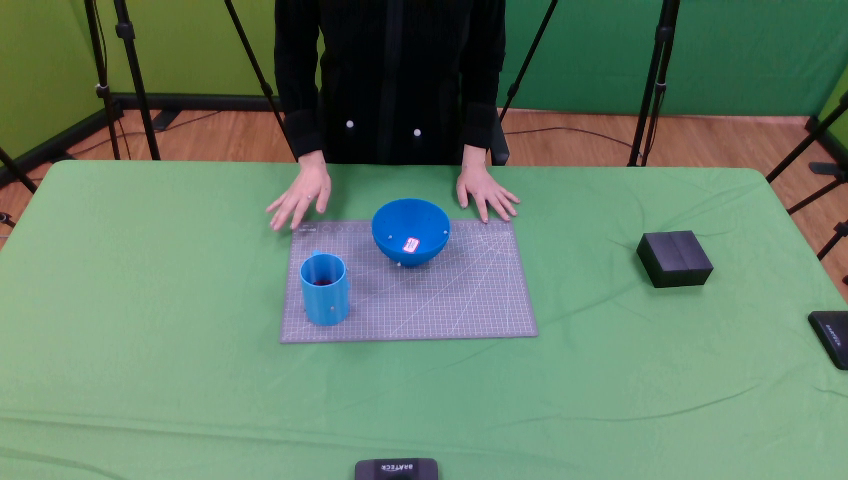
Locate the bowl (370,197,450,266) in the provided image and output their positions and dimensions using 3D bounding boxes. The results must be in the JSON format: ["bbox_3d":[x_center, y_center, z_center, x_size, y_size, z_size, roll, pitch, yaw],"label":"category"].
[{"bbox_3d":[-0.028,-0.003,1.156,0.151,0.077,0.150,2,46,-2],"label":"bowl"}]

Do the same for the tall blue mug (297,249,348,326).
[{"bbox_3d":[-0.183,0.077,1.045,0.106,0.108,0.078,35,54,26],"label":"tall blue mug"}]
